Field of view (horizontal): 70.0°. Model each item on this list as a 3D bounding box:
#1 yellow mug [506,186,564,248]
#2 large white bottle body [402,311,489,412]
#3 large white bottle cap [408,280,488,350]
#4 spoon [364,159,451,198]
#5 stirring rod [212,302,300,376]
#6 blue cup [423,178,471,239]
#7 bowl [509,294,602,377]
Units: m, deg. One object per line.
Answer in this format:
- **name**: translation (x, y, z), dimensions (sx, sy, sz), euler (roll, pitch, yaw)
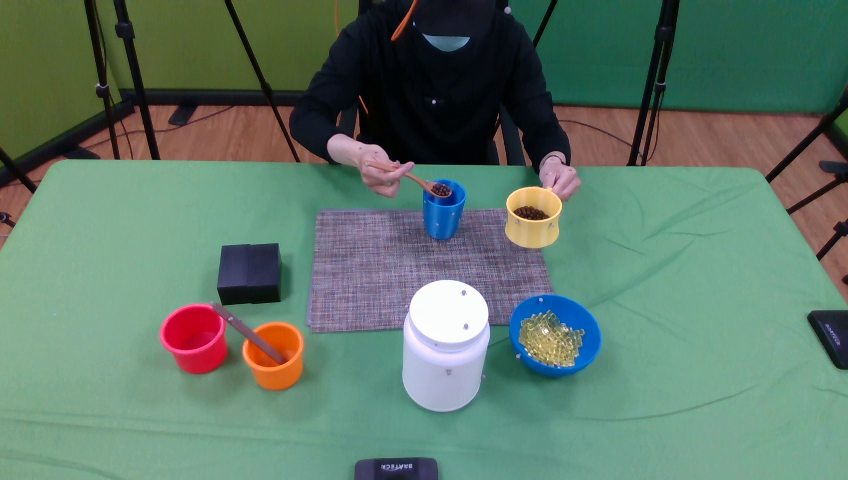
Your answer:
- **yellow mug**: translation (0.209, -0.052, 1.111), dimensions (0.099, 0.064, 0.130), euler (23, 49, 27)
- **large white bottle body**: translation (0.031, 0.163, 0.928), dimensions (0.131, 0.185, 0.130), euler (2, 46, -2)
- **large white bottle cap**: translation (0.034, 0.105, 0.866), dimensions (0.115, 0.018, 0.114), euler (2, 46, -1)
- **spoon**: translation (-0.028, -0.116, 1.114), dimensions (0.195, 0.021, 0.041), euler (22, 38, -36)
- **stirring rod**: translation (-0.261, 0.156, 0.948), dimensions (0.177, 0.006, 0.014), euler (45, 45, -20)
- **blue cup**: translation (0.036, -0.056, 1.192), dimensions (0.093, 0.101, 0.092), euler (3, 45, -3)
- **bowl**: translation (0.211, 0.172, 1.007), dimensions (0.151, 0.077, 0.150), euler (2, 46, -2)
